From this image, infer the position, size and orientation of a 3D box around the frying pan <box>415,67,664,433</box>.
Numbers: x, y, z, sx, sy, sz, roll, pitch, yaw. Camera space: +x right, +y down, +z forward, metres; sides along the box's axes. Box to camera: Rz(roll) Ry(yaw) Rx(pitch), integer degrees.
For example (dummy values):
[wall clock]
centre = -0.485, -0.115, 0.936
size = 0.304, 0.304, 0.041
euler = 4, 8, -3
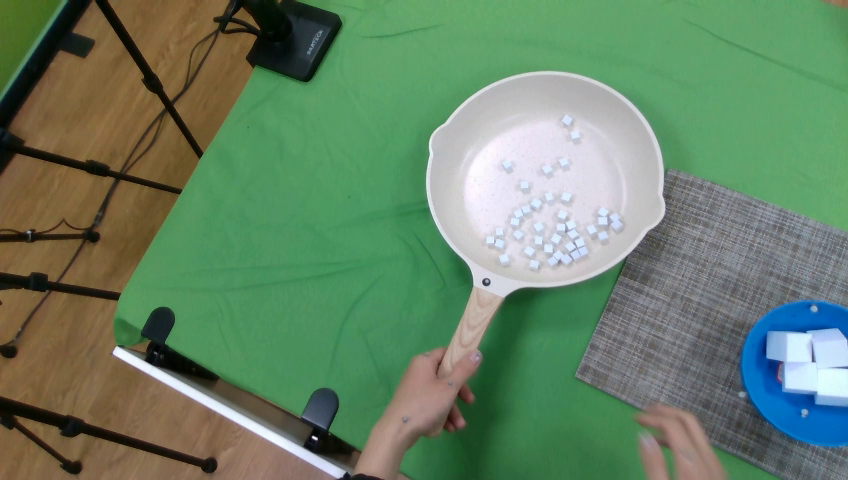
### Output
[frying pan]
centre = 0.103, 0.007, 0.749
size = 0.305, 0.103, 0.486
euler = 22, 70, 17

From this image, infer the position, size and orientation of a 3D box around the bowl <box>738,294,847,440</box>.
[bowl]
centre = 0.414, 0.140, 0.660
size = 0.151, 0.077, 0.150
euler = -3, 73, 10
